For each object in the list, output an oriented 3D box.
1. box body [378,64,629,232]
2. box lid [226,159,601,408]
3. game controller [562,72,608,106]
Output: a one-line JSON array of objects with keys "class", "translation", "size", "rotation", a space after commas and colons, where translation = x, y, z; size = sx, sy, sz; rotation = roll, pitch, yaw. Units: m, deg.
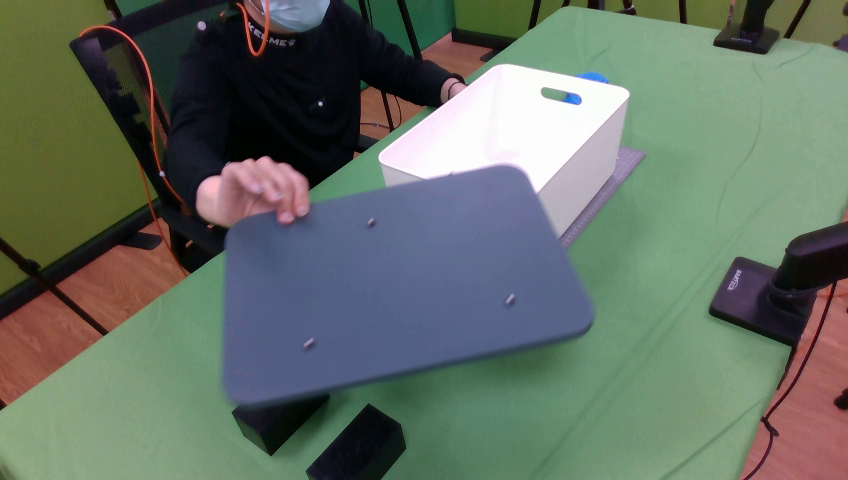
[{"class": "box body", "translation": [0.137, -0.121, 0.978], "size": [0.252, 0.161, 0.365], "rotation": [22, 48, 30]}, {"class": "box lid", "translation": [-0.023, 0.027, 0.648], "size": [0.372, 0.015, 0.261], "rotation": [-12, 48, -6]}, {"class": "game controller", "translation": [0.326, -0.306, 1.260], "size": [0.096, 0.052, 0.155], "rotation": [14, 45, 17]}]
